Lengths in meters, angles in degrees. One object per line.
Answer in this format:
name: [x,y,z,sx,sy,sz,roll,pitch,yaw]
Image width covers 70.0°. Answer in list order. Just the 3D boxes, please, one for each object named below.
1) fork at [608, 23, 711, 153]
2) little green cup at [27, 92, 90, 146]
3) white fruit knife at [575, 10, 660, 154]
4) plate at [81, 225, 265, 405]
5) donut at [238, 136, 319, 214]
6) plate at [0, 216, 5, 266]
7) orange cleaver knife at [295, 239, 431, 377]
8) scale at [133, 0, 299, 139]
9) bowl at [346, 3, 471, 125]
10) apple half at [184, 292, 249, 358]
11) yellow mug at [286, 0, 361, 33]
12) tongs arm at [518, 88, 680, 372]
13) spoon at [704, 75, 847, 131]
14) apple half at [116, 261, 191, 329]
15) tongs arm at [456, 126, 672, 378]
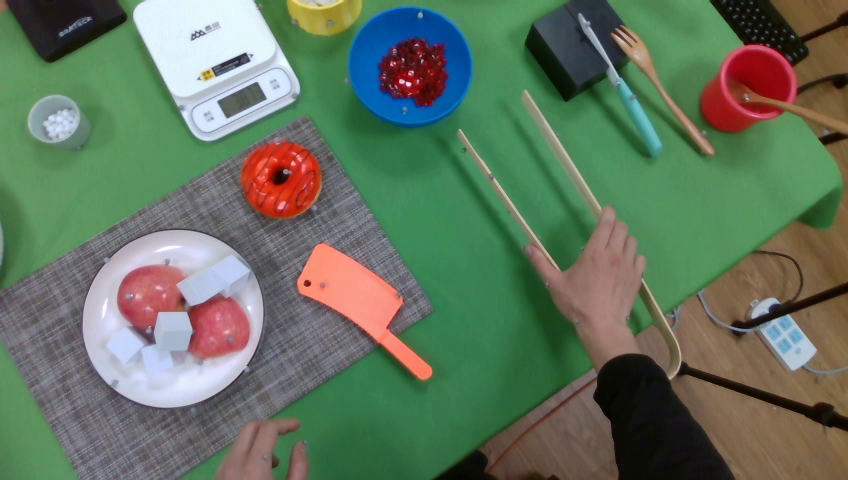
fork: [0.307,-0.194,0.780,0.028,0.018,0.208,-42,100,-12]
little green cup: [-0.448,-0.146,0.748,0.061,0.039,0.061,0,80,-2]
white fruit knife: [0.245,-0.200,0.771,0.016,0.027,0.208,-35,98,-7]
plate: [-0.290,0.087,0.714,0.209,0.038,0.208,1,81,-3]
donut: [-0.178,-0.079,0.744,0.099,0.048,0.098,0,82,-1]
plate: [-0.599,0.012,0.715,0.208,0.039,0.207,1,80,-3]
orange cleaver knife: [-0.065,0.081,0.734,0.211,0.012,0.077,38,75,5]
scale: [-0.266,-0.243,0.777,0.149,0.031,0.200,-28,83,-6]
bowl: [-0.020,-0.207,0.760,0.151,0.077,0.151,1,81,-3]
apple half: [-0.249,0.099,0.707,0.081,0.033,0.081,0,84,0]
yellow mug: [-0.148,-0.335,0.780,0.131,0.064,0.099,24,81,2]
tongs arm: [0.210,-0.019,0.740,0.028,0.028,0.386,-27,83,-13]
spoon: [0.429,-0.168,0.742,0.041,0.022,0.191,-38,39,-9]
apple half: [-0.316,0.061,0.701,0.074,0.053,0.080,11,79,2]
tongs arm: [0.164,0.009,0.732,0.051,0.026,0.383,-32,83,-10]
